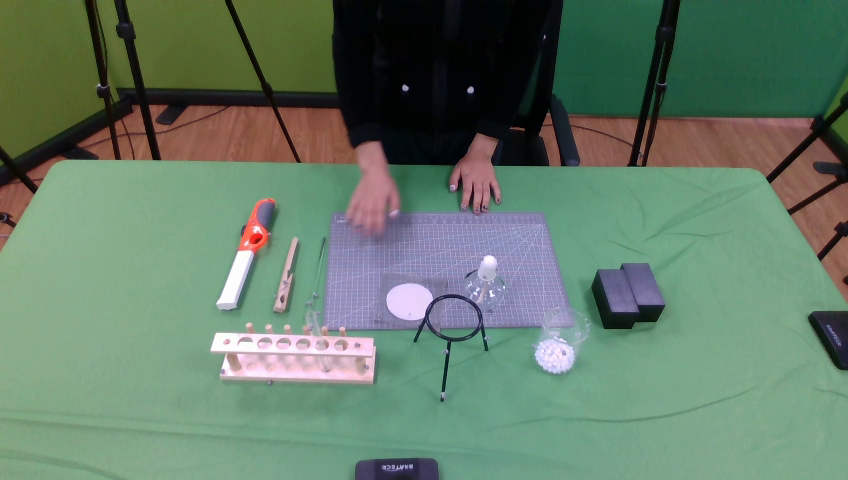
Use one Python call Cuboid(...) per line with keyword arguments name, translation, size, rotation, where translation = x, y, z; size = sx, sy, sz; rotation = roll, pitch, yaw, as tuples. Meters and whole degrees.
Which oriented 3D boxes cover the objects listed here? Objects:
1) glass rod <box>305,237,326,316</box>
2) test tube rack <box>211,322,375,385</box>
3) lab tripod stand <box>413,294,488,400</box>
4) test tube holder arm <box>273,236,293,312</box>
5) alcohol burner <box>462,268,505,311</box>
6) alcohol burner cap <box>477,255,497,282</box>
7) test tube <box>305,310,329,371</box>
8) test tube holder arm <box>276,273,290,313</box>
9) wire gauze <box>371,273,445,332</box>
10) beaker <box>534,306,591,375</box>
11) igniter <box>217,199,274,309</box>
Cuboid(name="glass rod", translation=(-0.202, 0.063, 1.131), size=(0.008, 0.008, 0.198), rotation=(4, 44, 0))
Cuboid(name="test tube rack", translation=(-0.202, 0.176, 0.969), size=(0.242, 0.085, 0.066), rotation=(3, 46, -2))
Cuboid(name="lab tripod stand", translation=(0.044, 0.159, 0.972), size=(0.148, 0.132, 0.147), rotation=(3, 44, -2))
Cuboid(name="test tube holder arm", translation=(-0.260, 0.058, 1.122), size=(0.013, 0.015, 0.177), rotation=(29, 38, -29))
Cuboid(name="alcohol burner", translation=(0.108, 0.071, 1.072), size=(0.078, 0.119, 0.077), rotation=(4, 45, -3))
Cuboid(name="alcohol burner cap", translation=(0.110, 0.047, 1.046), size=(0.034, 0.048, 0.033), rotation=(2, 52, -2))
Cuboid(name="test tube", translation=(-0.162, 0.156, 0.924), size=(0.017, 0.151, 0.017), rotation=(-1, 48, 1))
Cuboid(name="test tube holder arm", translation=(-0.254, 0.093, 1.094), size=(0.010, 0.015, 0.087), rotation=(30, 37, -28))
Cuboid(name="wire gauze", translation=(-0.028, 0.109, 1.100), size=(0.125, 0.011, 0.121), rotation=(7, 45, 4))
Cuboid(name="beaker", translation=(0.226, 0.169, 1.002), size=(0.084, 0.101, 0.073), rotation=(-5, 47, -10))
Cuboid(name="igniter", translation=(-0.336, 0.017, 1.153), size=(0.057, 0.025, 0.275), rotation=(-2, 45, 8))
